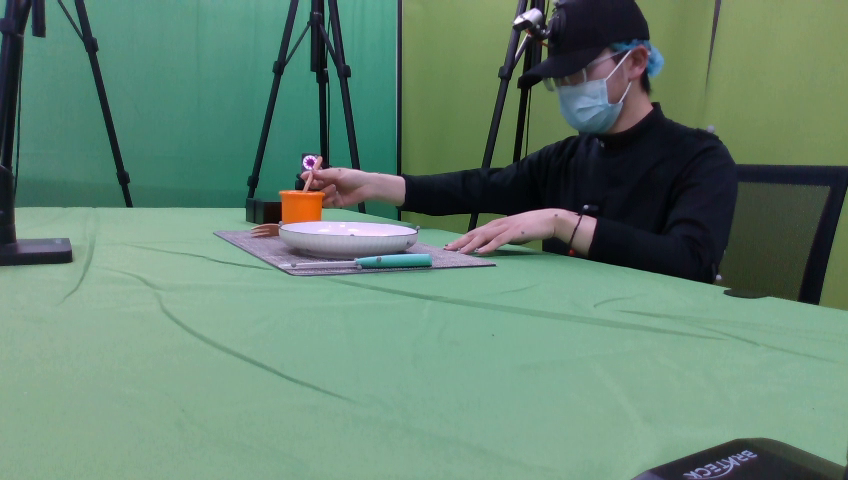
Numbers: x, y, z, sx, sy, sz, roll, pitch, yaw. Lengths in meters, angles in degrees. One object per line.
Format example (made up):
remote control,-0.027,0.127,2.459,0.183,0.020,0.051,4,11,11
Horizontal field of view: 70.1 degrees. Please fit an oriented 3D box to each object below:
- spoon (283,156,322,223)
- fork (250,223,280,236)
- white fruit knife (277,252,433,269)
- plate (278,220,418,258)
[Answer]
spoon,-0.243,-0.106,1.251,0.041,0.193,0.021,9,-32,10
fork,-0.194,-0.014,1.051,0.208,0.028,0.018,3,38,-14
white fruit knife,-0.082,0.029,0.772,0.208,0.016,0.027,-3,-20,-22
plate,-0.114,-0.002,0.914,0.209,0.038,0.209,2,7,0
